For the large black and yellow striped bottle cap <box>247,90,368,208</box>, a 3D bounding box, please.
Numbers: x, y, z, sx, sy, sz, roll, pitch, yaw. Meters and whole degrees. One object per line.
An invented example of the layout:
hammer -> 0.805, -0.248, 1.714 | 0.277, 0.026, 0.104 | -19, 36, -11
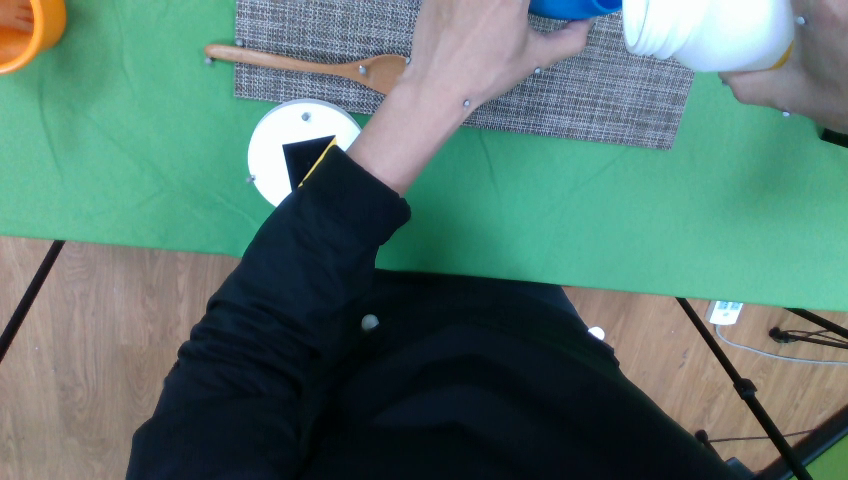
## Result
large black and yellow striped bottle cap -> -0.111, -0.085, 0.584 | 0.115, 0.018, 0.116 | -5, 119, -9

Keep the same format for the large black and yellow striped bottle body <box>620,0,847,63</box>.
large black and yellow striped bottle body -> 0.215, -0.170, 0.347 | 0.184, 0.130, 0.131 | 1, 116, 8

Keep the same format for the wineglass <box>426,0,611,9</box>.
wineglass -> 0.069, -0.210, 0.453 | 0.074, 0.170, 0.074 | -15, 115, -36

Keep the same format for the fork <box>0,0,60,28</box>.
fork -> -0.363, -0.180, 0.416 | 0.208, 0.018, 0.028 | -8, 133, -57

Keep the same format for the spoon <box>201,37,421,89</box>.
spoon -> -0.099, -0.163, 0.542 | 0.194, 0.021, 0.042 | 3, 136, -13
